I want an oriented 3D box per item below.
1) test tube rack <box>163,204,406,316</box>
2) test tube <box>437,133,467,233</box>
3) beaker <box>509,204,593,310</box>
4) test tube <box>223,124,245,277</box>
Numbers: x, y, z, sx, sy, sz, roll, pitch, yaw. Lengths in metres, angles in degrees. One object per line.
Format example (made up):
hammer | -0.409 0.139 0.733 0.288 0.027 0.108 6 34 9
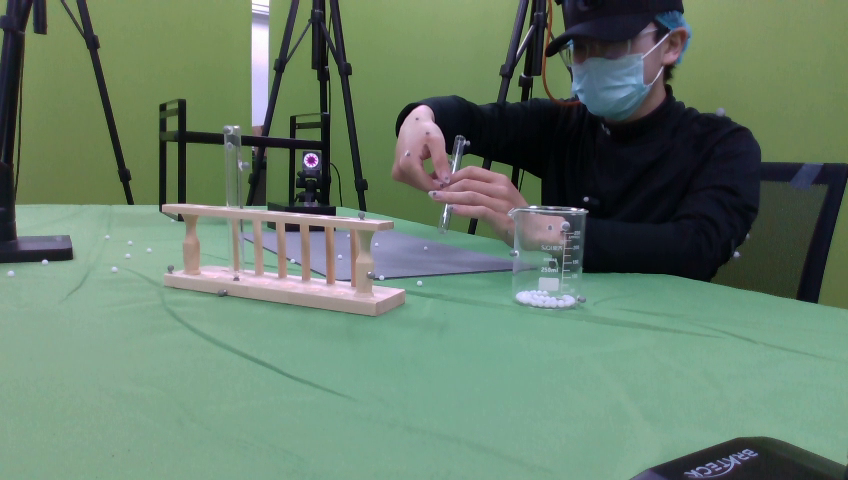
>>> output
test tube rack | -0.141 0.013 0.601 0.241 0.085 0.067 5 8 21
test tube | 0.038 -0.078 0.817 0.017 0.150 0.017 10 -21 4
beaker | 0.125 0.016 0.613 0.084 0.100 0.074 1 7 -5
test tube | -0.185 -0.037 0.592 0.017 0.150 0.017 1 11 0
